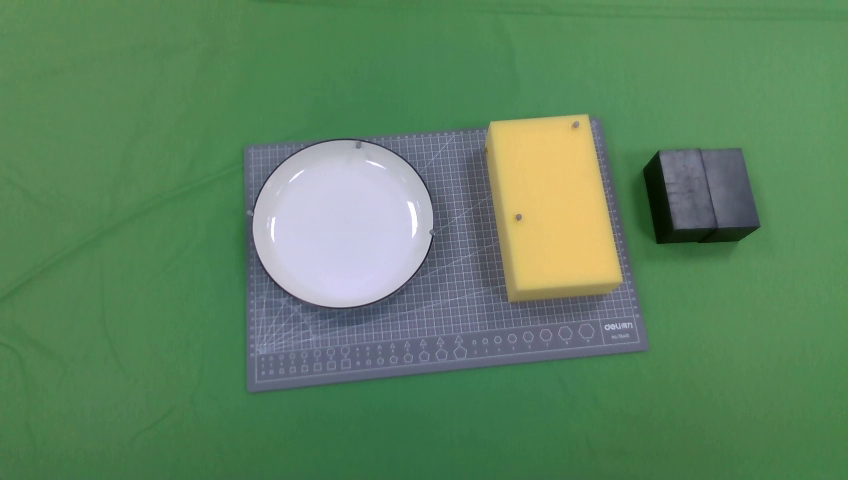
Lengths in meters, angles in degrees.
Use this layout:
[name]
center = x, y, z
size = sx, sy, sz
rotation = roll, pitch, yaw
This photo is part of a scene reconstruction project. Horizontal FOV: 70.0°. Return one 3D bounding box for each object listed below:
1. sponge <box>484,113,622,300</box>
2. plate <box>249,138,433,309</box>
[sponge]
center = 0.144, -0.040, 0.706
size = 0.118, 0.061, 0.205
rotation = -6, 72, -4
[plate]
center = -0.093, -0.018, 0.703
size = 0.209, 0.038, 0.208
rotation = 1, 72, -2
